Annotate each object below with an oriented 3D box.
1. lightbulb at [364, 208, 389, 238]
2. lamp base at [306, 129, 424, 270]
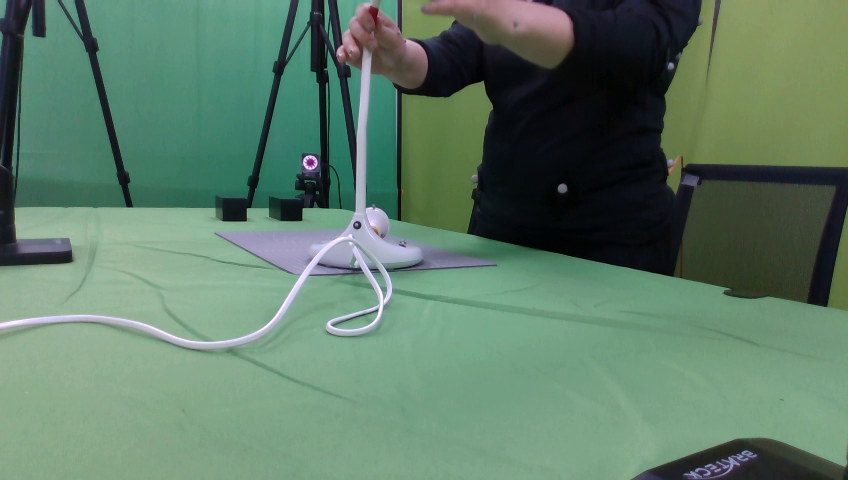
[{"bbox_3d":[-0.089,-0.017,1.019,0.059,0.059,0.107,2,23,-3],"label":"lightbulb"},{"bbox_3d":[-0.077,-0.057,0.810,0.161,0.180,0.179,2,10,-4],"label":"lamp base"}]
